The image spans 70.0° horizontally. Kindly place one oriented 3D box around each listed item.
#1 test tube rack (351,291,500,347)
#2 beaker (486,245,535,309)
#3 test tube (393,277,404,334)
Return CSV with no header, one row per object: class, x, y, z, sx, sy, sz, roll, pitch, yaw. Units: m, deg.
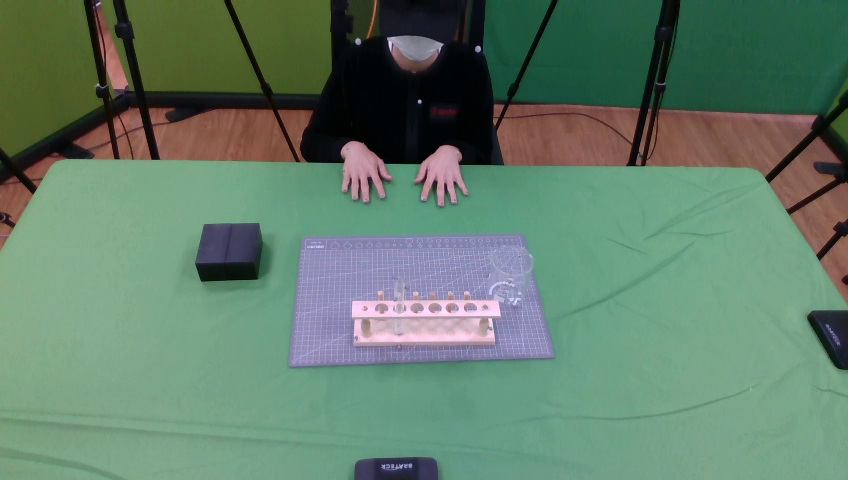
test tube rack,0.001,0.129,1.026,0.242,0.085,0.066,0,46,-4
beaker,0.149,0.068,1.087,0.084,0.101,0.073,13,46,9
test tube,-0.041,0.108,0.973,0.017,0.151,0.017,2,50,-2
